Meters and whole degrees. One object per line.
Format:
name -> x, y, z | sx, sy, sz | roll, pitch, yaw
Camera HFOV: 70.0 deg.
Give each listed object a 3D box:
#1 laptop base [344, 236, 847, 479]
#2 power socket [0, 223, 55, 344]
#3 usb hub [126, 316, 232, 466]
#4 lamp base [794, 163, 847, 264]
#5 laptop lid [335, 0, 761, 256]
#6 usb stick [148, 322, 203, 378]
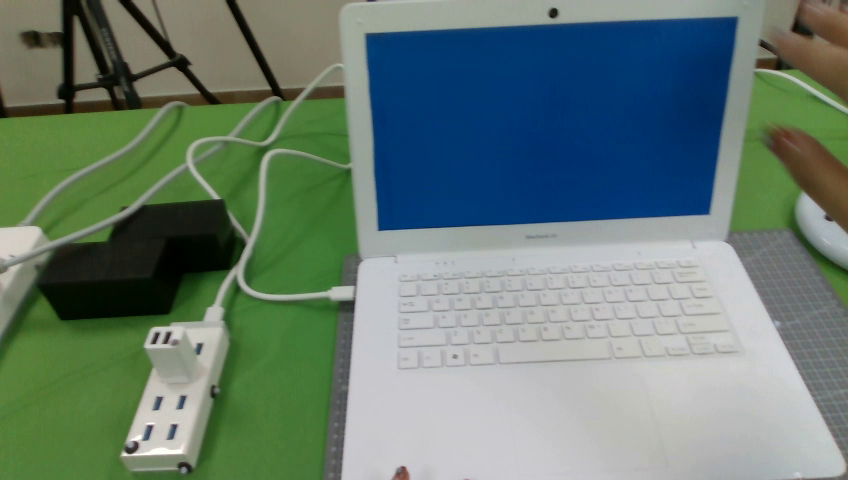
laptop base -> 0.117, 0.092, 0.500 | 0.354, 0.023, 0.233 | -3, 47, 0
power socket -> -0.410, 0.064, 0.545 | 0.072, 0.033, 0.224 | -2, 43, -1
usb hub -> -0.192, 0.116, 0.485 | 0.049, 0.025, 0.124 | -3, 43, 1
lamp base -> 0.453, -0.081, 0.548 | 0.159, 0.182, 0.178 | 19, 45, 22
laptop lid -> 0.107, -0.097, 0.539 | 0.357, 0.243, 0.013 | -4, 23, 0
usb stick -> -0.190, 0.090, 0.471 | 0.027, 0.060, 0.021 | -4, 43, 1
